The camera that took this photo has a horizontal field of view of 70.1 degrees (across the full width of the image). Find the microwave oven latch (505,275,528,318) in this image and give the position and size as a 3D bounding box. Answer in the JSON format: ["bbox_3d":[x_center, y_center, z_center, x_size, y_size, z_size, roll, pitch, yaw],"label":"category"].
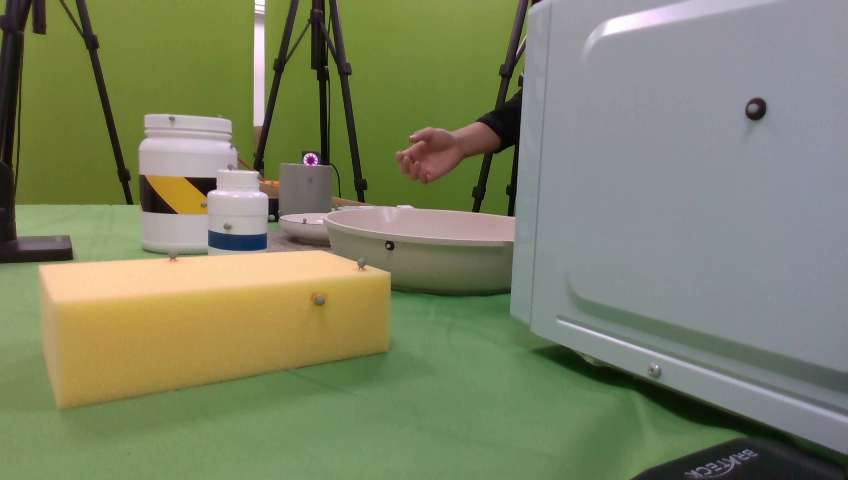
[{"bbox_3d":[0.100,0.042,0.472,0.079,0.029,0.030,-2,8,-30],"label":"microwave oven latch"}]

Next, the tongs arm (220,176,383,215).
[{"bbox_3d":[-0.285,-0.104,1.445,0.389,0.027,0.028,9,-4,-23],"label":"tongs arm"}]

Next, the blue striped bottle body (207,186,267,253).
[{"bbox_3d":[-0.204,-0.016,0.663,0.063,0.120,0.063,2,7,0],"label":"blue striped bottle body"}]

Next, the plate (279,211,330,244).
[{"bbox_3d":[-0.139,-0.022,1.021,0.209,0.038,0.209,2,8,0],"label":"plate"}]

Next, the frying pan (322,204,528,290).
[{"bbox_3d":[0.109,-0.018,0.800,0.490,0.102,0.305,-12,16,-30],"label":"frying pan"}]

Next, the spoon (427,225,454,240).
[{"bbox_3d":[0.024,-0.019,1.124,0.042,0.021,0.193,-15,9,-5],"label":"spoon"}]

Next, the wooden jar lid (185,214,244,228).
[{"bbox_3d":[-0.404,-0.037,1.169,0.108,0.020,0.108,3,7,0],"label":"wooden jar lid"}]

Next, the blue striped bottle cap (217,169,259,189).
[{"bbox_3d":[-0.202,-0.067,0.657,0.044,0.020,0.044,0,10,0],"label":"blue striped bottle cap"}]

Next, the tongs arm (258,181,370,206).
[{"bbox_3d":[-0.241,-0.095,1.373,0.387,0.026,0.050,9,0,-37],"label":"tongs arm"}]

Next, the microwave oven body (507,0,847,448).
[{"bbox_3d":[0.331,-0.042,0.425,0.444,0.260,0.324,-2,8,-31],"label":"microwave oven body"}]

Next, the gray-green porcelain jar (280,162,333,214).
[{"bbox_3d":[-0.238,-0.092,1.221,0.106,0.126,0.106,2,7,0],"label":"gray-green porcelain jar"}]

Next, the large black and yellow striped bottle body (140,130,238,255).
[{"bbox_3d":[-0.336,-0.078,0.872,0.131,0.184,0.130,2,8,0],"label":"large black and yellow striped bottle body"}]

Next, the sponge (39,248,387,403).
[{"bbox_3d":[-0.142,0.047,0.420,0.208,0.061,0.117,-3,8,-37],"label":"sponge"}]

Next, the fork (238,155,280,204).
[{"bbox_3d":[-0.396,-0.143,1.486,0.028,0.018,0.208,20,-26,45],"label":"fork"}]

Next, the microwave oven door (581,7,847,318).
[{"bbox_3d":[0.295,-0.067,0.569,0.358,0.243,0.039,-3,8,-31],"label":"microwave oven door"}]

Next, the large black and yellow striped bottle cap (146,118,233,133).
[{"bbox_3d":[-0.333,-0.163,0.861,0.115,0.019,0.115,1,9,0],"label":"large black and yellow striped bottle cap"}]

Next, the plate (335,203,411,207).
[{"bbox_3d":[-0.089,-0.053,1.309,0.208,0.039,0.207,2,8,0],"label":"plate"}]
